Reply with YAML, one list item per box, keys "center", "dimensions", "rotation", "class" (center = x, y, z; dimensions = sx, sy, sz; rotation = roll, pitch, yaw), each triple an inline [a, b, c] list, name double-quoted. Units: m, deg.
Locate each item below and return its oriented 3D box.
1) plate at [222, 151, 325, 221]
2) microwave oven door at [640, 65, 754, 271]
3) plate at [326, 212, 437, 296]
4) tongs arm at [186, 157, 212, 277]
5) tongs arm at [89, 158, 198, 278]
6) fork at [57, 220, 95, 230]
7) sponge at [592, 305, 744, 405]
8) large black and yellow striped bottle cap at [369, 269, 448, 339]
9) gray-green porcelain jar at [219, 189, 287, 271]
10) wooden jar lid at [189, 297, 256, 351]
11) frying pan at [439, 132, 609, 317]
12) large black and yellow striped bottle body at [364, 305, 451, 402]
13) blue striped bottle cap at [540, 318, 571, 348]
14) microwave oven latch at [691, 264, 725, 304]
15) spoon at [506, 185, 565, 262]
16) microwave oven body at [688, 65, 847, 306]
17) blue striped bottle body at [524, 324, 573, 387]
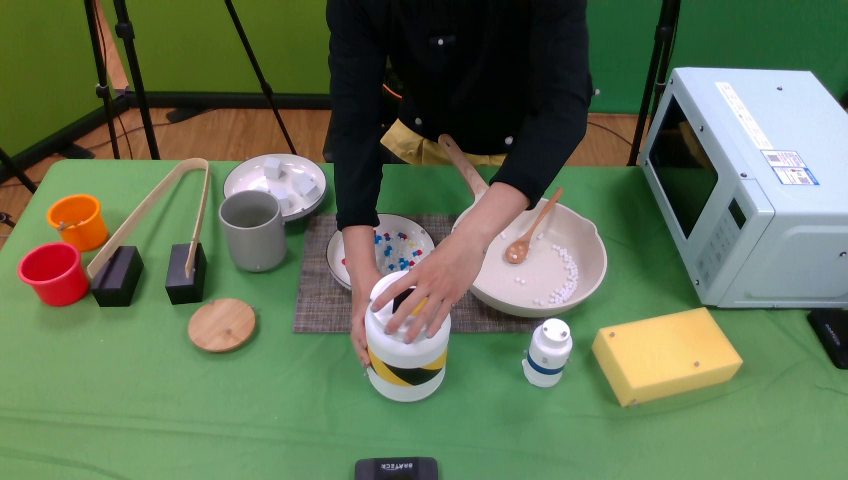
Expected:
- center: [-0.310, -0.106, 1.263]
  dimensions: [0.208, 0.039, 0.206]
  rotation: [2, 47, -2]
  class: "plate"
- center: [0.524, -0.148, 1.193]
  dimensions: [0.039, 0.245, 0.353]
  rotation: [0, 47, -3]
  class: "microwave oven door"
- center: [-0.080, 0.030, 1.143]
  dimensions: [0.209, 0.038, 0.208]
  rotation: [2, 46, -2]
  class: "plate"
- center: [-0.445, -0.058, 1.168]
  dimensions: [0.051, 0.026, 0.382]
  rotation: [-5, 37, -6]
  class: "tongs arm"
- center: [-0.529, -0.057, 1.164]
  dimensions: [0.028, 0.028, 0.385]
  rotation: [1, 36, 8]
  class: "tongs arm"
- center: [-0.624, -0.027, 1.086]
  dimensions: [0.028, 0.207, 0.018]
  rotation: [-3, 92, -17]
  class: "fork"
- center: [0.405, 0.190, 1.015]
  dimensions: [0.207, 0.061, 0.117]
  rotation: [-10, 48, -13]
  class: "sponge"
- center: [-0.022, 0.091, 0.876]
  dimensions: [0.115, 0.019, 0.114]
  rotation: [2, 48, -2]
  class: "large black and yellow striped bottle cap"
- center: [-0.309, -0.014, 1.113]
  dimensions: [0.106, 0.127, 0.105]
  rotation: [2, 46, -2]
  class: "gray-green porcelain jar"
- center: [-0.342, 0.145, 1.033]
  dimensions: [0.108, 0.021, 0.107]
  rotation: [3, 45, -2]
  class: "wooden jar lid"
- center: [0.149, -0.049, 1.189]
  dimensions: [0.307, 0.103, 0.484]
  rotation: [-17, 58, -20]
  class: "frying pan"
- center: [-0.026, 0.150, 0.938]
  dimensions: [0.131, 0.185, 0.130]
  rotation: [2, 47, -2]
  class: "large black and yellow striped bottle body"
- center: [0.203, 0.142, 0.933]
  dimensions: [0.044, 0.021, 0.044]
  rotation: [3, 49, -3]
  class: "blue striped bottle cap"
- center: [0.521, 0.081, 1.116]
  dimensions: [0.030, 0.029, 0.078]
  rotation: [0, 46, -3]
  class: "microwave oven latch"
- center: [0.224, -0.034, 1.188]
  dimensions: [0.041, 0.022, 0.193]
  rotation: [31, 79, 28]
  class: "spoon"
- center: [0.669, -0.111, 1.176]
  dimensions: [0.326, 0.261, 0.439]
  rotation: [0, 46, -3]
  class: "microwave oven body"
- center: [0.200, 0.178, 0.970]
  dimensions: [0.063, 0.121, 0.062]
  rotation: [2, 46, -2]
  class: "blue striped bottle body"
